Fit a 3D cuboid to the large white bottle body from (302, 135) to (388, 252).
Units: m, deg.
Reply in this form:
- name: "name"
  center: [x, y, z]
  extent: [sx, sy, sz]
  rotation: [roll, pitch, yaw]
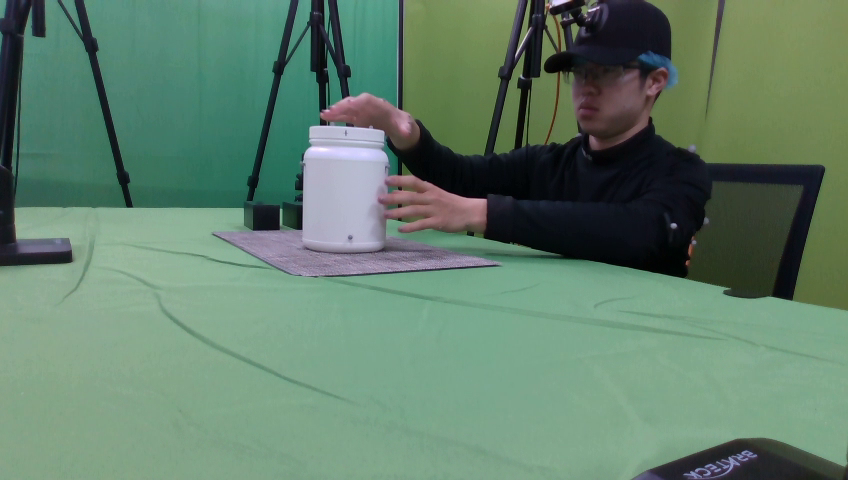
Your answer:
- name: "large white bottle body"
  center: [-0.122, -0.080, 0.937]
  extent: [0.131, 0.184, 0.130]
  rotation: [2, 7, 0]

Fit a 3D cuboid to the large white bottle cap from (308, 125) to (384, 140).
- name: "large white bottle cap"
  center: [-0.119, -0.163, 0.927]
  extent: [0.115, 0.018, 0.115]
  rotation: [2, 6, 0]
